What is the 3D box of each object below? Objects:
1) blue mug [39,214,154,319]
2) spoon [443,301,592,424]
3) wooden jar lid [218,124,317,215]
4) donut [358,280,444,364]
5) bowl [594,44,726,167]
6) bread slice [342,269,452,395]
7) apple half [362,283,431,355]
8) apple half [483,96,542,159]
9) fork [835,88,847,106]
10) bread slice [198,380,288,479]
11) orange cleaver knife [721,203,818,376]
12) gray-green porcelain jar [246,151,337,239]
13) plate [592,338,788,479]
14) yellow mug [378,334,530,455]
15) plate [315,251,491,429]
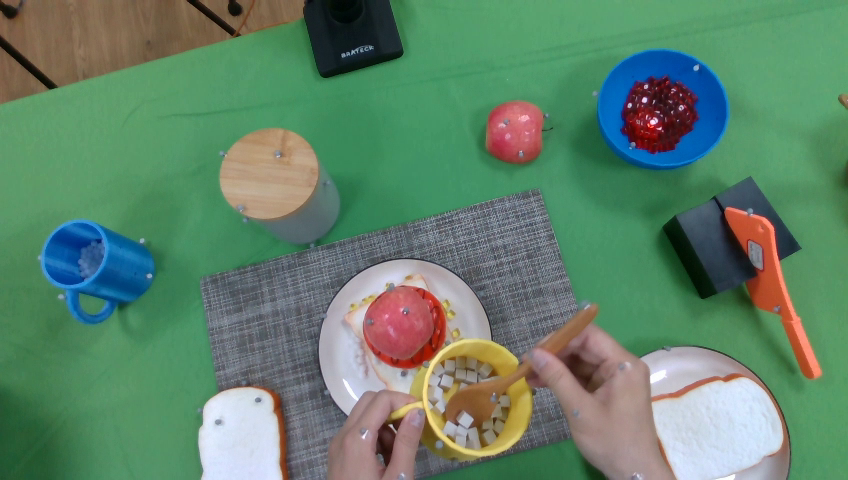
[{"bbox_3d":[-0.397,0.038,0.734,0.082,0.106,0.116,5,77,6],"label":"blue mug"},{"bbox_3d":[0.076,0.107,0.505,0.042,0.194,0.021,30,42,-12],"label":"spoon"},{"bbox_3d":[-0.170,-0.076,0.669,0.108,0.021,0.108,-1,74,2],"label":"wooden jar lid"},{"bbox_3d":[-0.026,0.094,0.698,0.099,0.048,0.098,-1,78,5],"label":"donut"},{"bbox_3d":[0.279,-0.152,0.744,0.151,0.077,0.150,-1,77,4],"label":"bowl"},{"bbox_3d":[-0.020,0.114,0.723,0.107,0.018,0.133,-31,76,-3],"label":"bread slice"},{"bbox_3d":[-0.031,0.086,0.663,0.081,0.033,0.081,-3,76,11],"label":"apple half"},{"bbox_3d":[0.113,-0.149,0.769,0.074,0.053,0.080,6,78,8],"label":"apple half"},{"bbox_3d":[0.515,-0.119,0.683,0.209,0.018,0.028,25,75,-33],"label":"fork"},{"bbox_3d":[-0.219,0.234,0.719,0.105,0.019,0.131,-7,78,1],"label":"bread slice"},{"bbox_3d":[0.389,0.054,0.687,0.012,0.077,0.212,-25,98,-9],"label":"orange cleaver knife"},{"bbox_3d":[-0.165,-0.061,0.731,0.106,0.127,0.105,-1,76,4],"label":"gray-green porcelain jar"},{"bbox_3d":[0.292,0.217,0.679,0.209,0.038,0.208,-1,77,4],"label":"plate"},{"bbox_3d":[0.024,0.143,0.544,0.131,0.064,0.099,-8,71,-16],"label":"yellow mug"},{"bbox_3d":[-0.024,0.117,0.721,0.207,0.039,0.206,-1,77,4],"label":"plate"}]
